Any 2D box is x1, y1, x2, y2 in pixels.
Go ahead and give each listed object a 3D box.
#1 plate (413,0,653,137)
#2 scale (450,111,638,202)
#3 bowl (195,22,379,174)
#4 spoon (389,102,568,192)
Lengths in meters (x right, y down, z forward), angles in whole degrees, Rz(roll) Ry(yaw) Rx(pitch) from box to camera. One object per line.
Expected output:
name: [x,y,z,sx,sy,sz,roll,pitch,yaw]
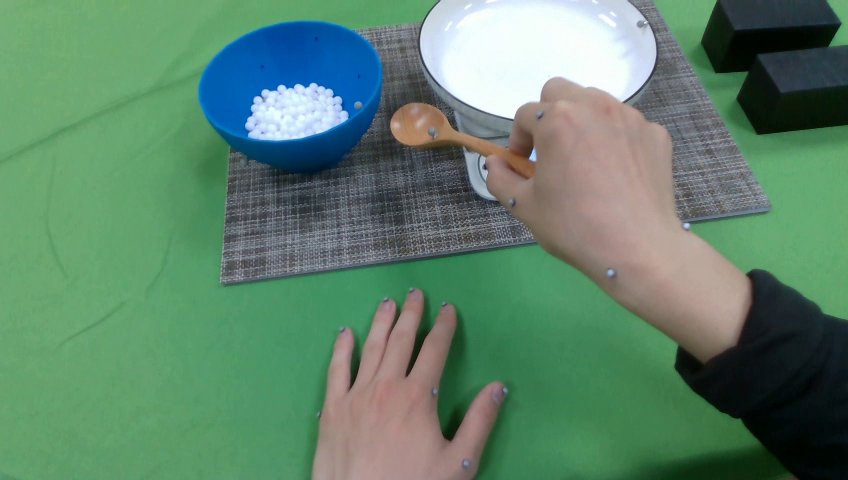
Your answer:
plate: [0.094,-0.164,0.542,0.209,0.038,0.207,-1,55,1]
scale: [0.098,-0.126,0.556,0.149,0.032,0.199,-8,56,-3]
bowl: [-0.110,-0.111,0.526,0.151,0.077,0.150,-1,55,2]
spoon: [0.030,-0.067,0.427,0.041,0.022,0.191,-45,37,-8]
